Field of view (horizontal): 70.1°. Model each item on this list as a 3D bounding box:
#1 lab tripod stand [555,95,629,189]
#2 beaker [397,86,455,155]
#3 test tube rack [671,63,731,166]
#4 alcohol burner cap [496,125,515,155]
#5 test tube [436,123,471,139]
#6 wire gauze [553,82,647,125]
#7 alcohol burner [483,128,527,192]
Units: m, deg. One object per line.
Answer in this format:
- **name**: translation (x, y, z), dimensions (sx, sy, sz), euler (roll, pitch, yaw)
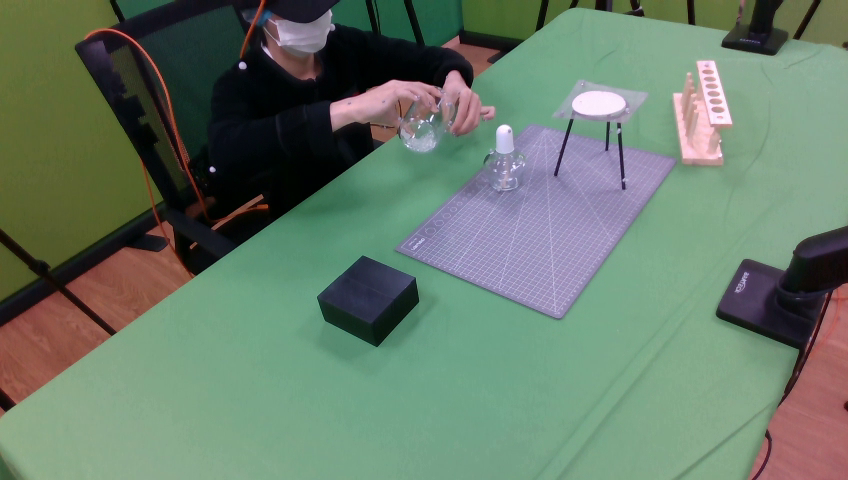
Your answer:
- **lab tripod stand**: translation (0.300, -0.174, 1.045), dimensions (0.148, 0.132, 0.147), euler (-5, 38, 5)
- **beaker**: translation (0.003, -0.193, 0.999), dimensions (0.073, 0.084, 0.100), euler (0, 42, 23)
- **test tube rack**: translation (0.513, -0.241, 1.132), dimensions (0.066, 0.085, 0.242), euler (4, 41, 14)
- **alcohol burner cap**: translation (0.138, -0.172, 1.028), dimensions (0.034, 0.048, 0.033), euler (-5, 38, 4)
- **test tube**: translation (0.057, -0.201, 1.121), dimensions (0.017, 0.017, 0.151), euler (12, 9, 23)
- **wire gauze**: translation (0.293, -0.225, 1.002), dimensions (0.120, 0.011, 0.125), euler (17, 45, 27)
- **alcohol burner**: translation (0.141, -0.144, 1.050), dimensions (0.078, 0.119, 0.077), euler (-4, 42, 4)
